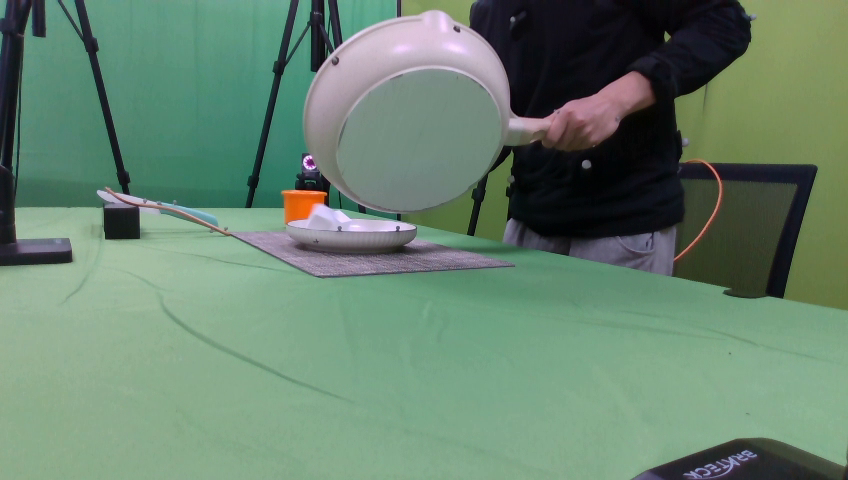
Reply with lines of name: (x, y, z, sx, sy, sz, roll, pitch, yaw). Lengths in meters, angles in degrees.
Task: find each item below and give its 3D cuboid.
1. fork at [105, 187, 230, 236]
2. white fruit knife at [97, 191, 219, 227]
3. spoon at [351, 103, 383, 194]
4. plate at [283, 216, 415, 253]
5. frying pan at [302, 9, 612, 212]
fork: (-0.428, -0.047, 1.020, 0.208, 0.018, 0.028, 19, -8, -26)
white fruit knife: (-0.468, -0.056, 1.079, 0.208, 0.027, 0.016, 16, -3, -29)
spoon: (-0.089, -0.155, 0.989, 0.042, 0.193, 0.021, 19, -38, -17)
plate: (-0.119, -0.009, 0.968, 0.208, 0.039, 0.207, 3, 7, 0)
frying pan: (0.079, -0.160, 0.863, 0.490, 0.306, 0.102, -7, 46, -27)
